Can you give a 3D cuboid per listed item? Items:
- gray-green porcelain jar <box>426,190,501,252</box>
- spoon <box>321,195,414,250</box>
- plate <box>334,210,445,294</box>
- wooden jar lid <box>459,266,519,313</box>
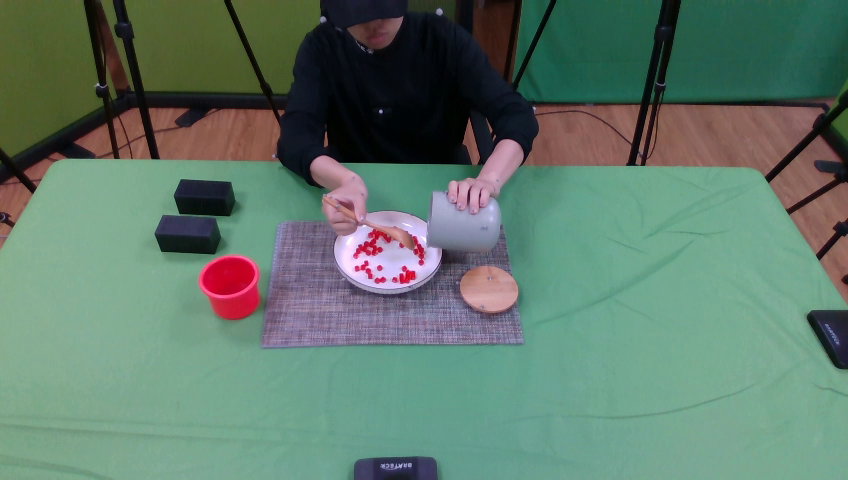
[{"bbox_3d":[0.071,-0.033,1.103,0.126,0.106,0.105,5,46,-3],"label":"gray-green porcelain jar"},{"bbox_3d":[-0.096,-0.031,1.075,0.194,0.022,0.041,24,37,-20],"label":"spoon"},{"bbox_3d":[-0.066,0.026,1.150,0.208,0.039,0.206,2,46,-2],"label":"plate"},{"bbox_3d":[0.118,0.093,1.111,0.108,0.021,0.107,1,47,-1],"label":"wooden jar lid"}]
